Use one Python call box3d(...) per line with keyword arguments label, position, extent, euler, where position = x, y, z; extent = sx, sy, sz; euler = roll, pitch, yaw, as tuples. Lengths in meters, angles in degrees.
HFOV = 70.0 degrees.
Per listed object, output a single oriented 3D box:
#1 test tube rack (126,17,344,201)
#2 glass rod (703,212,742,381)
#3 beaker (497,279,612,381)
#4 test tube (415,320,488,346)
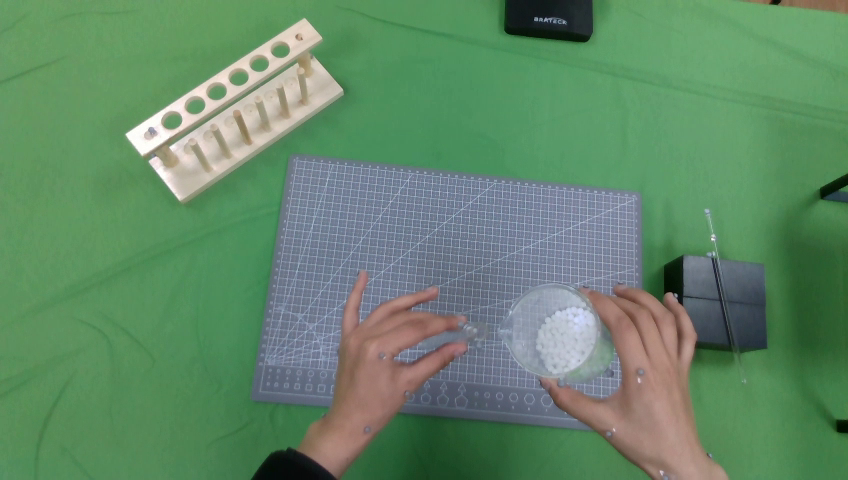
box3d(label="test tube rack", position=(-0.214, -0.155, 0.719), extent=(0.242, 0.085, 0.066), euler=(-38, 80, -14))
box3d(label="glass rod", position=(0.346, 0.062, 0.703), extent=(0.008, 0.008, 0.198), euler=(-3, 76, -6))
box3d(label="beaker", position=(0.114, 0.080, 0.509), extent=(0.083, 0.101, 0.073), euler=(-3, 73, 24))
box3d(label="test tube", position=(0.022, 0.088, 0.566), extent=(0.017, 0.150, 0.017), euler=(4, 76, -19))
